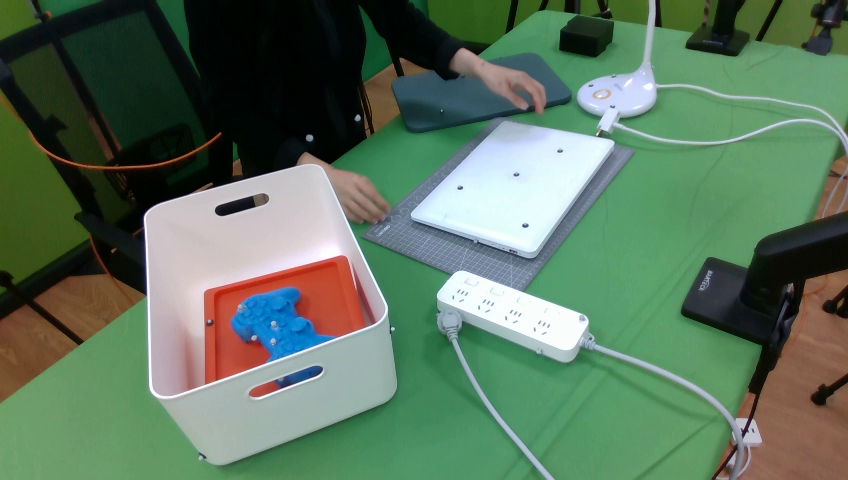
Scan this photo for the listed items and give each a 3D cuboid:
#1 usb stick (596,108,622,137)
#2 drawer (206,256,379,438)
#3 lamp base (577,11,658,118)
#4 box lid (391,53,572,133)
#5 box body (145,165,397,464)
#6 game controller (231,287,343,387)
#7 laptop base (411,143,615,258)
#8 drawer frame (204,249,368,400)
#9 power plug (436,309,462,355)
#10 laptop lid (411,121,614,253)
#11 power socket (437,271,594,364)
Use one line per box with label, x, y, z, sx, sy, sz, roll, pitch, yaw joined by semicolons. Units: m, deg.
usb stick;0.354;-0.223;1.168;0.027;0.059;0.022;36;12;35
drawer;-0.177;0.130;0.787;0.195;0.073;0.210;-14;39;-10
lamp base;0.406;-0.363;1.222;0.180;0.181;0.159;-20;42;-18
box lid;0.123;-0.339;1.366;0.372;0.015;0.261;-12;40;-5
box body;-0.205;0.080;0.802;0.255;0.161;0.361;-18;41;-13
game controller;-0.167;0.110;0.734;0.097;0.052;0.154;-35;47;-22
laptop base;0.167;-0.102;1.074;0.234;0.023;0.355;16;45;30
drawer frame;-0.174;0.129;0.791;0.202;0.083;0.212;-16;45;-8
power plug;0.032;0.126;0.810;0.035;0.053;0.072;3;59;7
laptop lid;0.164;-0.112;1.068;0.240;0.013;0.357;19;46;30
power socket;0.118;0.102;0.830;0.225;0.033;0.072;20;48;28
